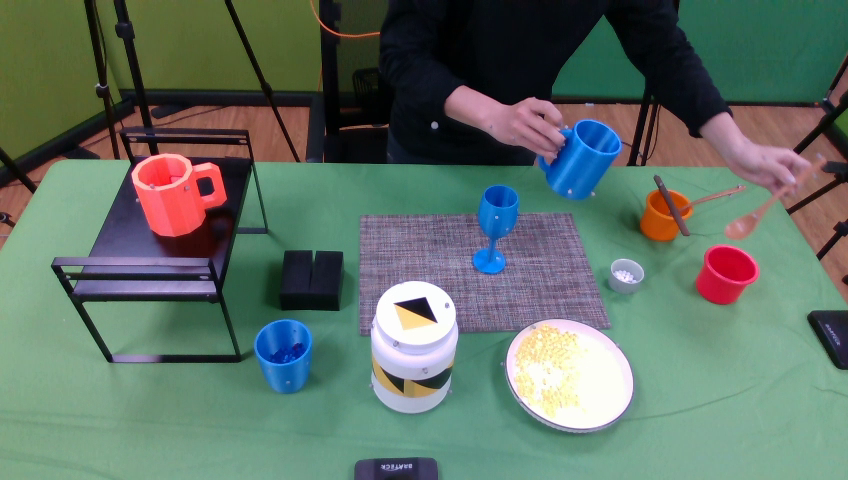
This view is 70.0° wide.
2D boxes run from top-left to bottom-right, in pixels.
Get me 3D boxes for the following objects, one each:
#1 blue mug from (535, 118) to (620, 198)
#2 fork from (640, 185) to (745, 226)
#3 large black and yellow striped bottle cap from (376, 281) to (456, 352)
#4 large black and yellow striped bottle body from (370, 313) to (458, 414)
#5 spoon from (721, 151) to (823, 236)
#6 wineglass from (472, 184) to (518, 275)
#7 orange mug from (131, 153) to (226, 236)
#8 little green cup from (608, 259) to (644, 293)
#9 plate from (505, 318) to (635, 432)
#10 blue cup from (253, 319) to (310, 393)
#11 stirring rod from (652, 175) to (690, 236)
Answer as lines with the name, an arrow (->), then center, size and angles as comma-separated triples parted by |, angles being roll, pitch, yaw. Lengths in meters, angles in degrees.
blue mug -> 0.239, -0.137, 0.982 | 0.117, 0.106, 0.082 | 17, 48, -6
fork -> 0.534, -0.069, 1.215 | 0.207, 0.019, 0.028 | -26, 27, 33
large black and yellow striped bottle cap -> -0.011, 0.107, 0.863 | 0.115, 0.019, 0.114 | 2, 47, -2
large black and yellow striped bottle body -> -0.017, 0.165, 0.924 | 0.131, 0.185, 0.130 | 2, 46, -2
spoon -> 0.580, -0.075, 1.011 | 0.022, 0.194, 0.041 | 25, 29, -29
wineglass -> 0.129, -0.018, 1.112 | 0.074, 0.173, 0.073 | 2, 46, -2
orange mug -> -0.375, -0.075, 0.937 | 0.126, 0.101, 0.083 | -20, 50, -17
little green cup -> 0.379, 0.070, 1.147 | 0.061, 0.039, 0.061 | 3, 45, -2
plate -> 0.235, 0.221, 0.991 | 0.209, 0.038, 0.208 | 2, 45, -2
blue cup -> -0.217, 0.187, 0.943 | 0.093, 0.101, 0.092 | 4, 45, -3
stirring rod -> 0.492, -0.072, 1.211 | 0.014, 0.006, 0.175 | -2, 46, -6
